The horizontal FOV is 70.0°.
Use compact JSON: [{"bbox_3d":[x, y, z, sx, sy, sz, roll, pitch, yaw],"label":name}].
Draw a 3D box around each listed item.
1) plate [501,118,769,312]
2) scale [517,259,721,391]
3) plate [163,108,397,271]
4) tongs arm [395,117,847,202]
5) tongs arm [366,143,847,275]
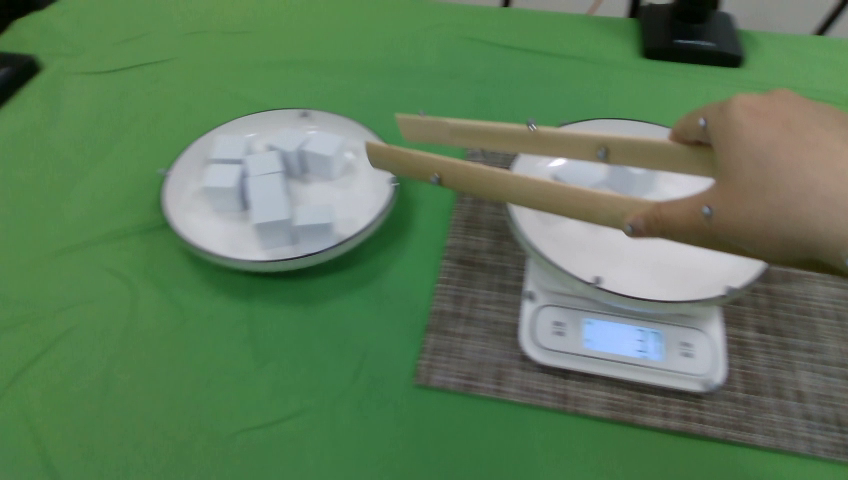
[{"bbox_3d":[0.165,-0.022,0.493,0.208,0.039,0.205,1,48,-1],"label":"plate"},{"bbox_3d":[0.160,0.021,0.498,0.148,0.032,0.199,9,49,8],"label":"scale"},{"bbox_3d":[-0.128,-0.047,0.561,0.209,0.038,0.207,0,48,0],"label":"plate"},{"bbox_3d":[0.131,-0.041,0.371,0.382,0.027,0.050,12,48,31],"label":"tongs arm"},{"bbox_3d":[0.116,-0.023,0.357,0.384,0.028,0.028,15,46,33],"label":"tongs arm"}]
